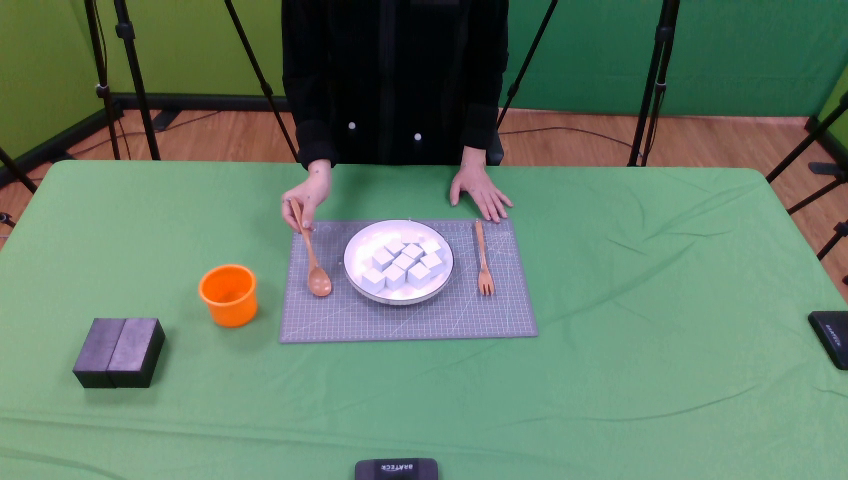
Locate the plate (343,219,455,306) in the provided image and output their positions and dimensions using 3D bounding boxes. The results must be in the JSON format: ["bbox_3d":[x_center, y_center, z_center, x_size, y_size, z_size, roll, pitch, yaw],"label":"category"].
[{"bbox_3d":[-0.047,0.045,1.136,0.208,0.039,0.206,2,46,-2],"label":"plate"}]

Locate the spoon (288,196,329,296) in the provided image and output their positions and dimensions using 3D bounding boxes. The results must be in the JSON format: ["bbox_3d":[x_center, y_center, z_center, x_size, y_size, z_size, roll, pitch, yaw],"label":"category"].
[{"bbox_3d":[-0.214,0.010,1.105,0.042,0.021,0.193,-15,87,-26],"label":"spoon"}]

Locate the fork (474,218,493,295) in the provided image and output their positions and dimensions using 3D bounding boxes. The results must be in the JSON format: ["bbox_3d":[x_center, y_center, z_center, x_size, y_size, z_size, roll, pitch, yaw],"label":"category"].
[{"bbox_3d":[0.112,0.029,1.177,0.028,0.019,0.206,-3,48,1],"label":"fork"}]
